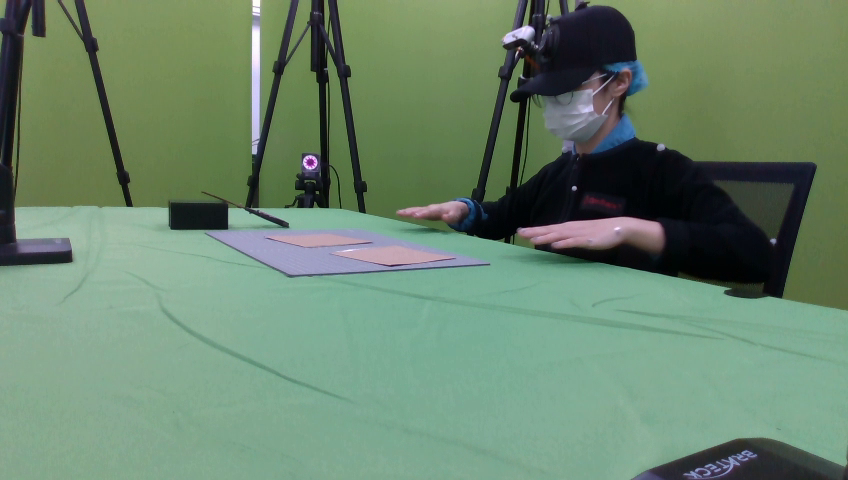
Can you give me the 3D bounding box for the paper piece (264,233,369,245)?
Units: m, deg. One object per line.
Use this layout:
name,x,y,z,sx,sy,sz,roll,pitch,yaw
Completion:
paper piece,-0.180,-0.005,1.032,0.136,0.004,0.135,-3,9,-43

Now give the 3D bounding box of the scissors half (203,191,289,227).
scissors half,-0.351,-0.063,1.200,0.176,0.013,0.040,22,-9,-16

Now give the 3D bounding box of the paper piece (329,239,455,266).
paper piece,-0.047,0.018,0.892,0.137,0.008,0.137,12,16,44

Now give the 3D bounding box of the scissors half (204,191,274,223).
scissors half,-0.359,-0.064,1.218,0.176,0.013,0.040,24,-5,-33
